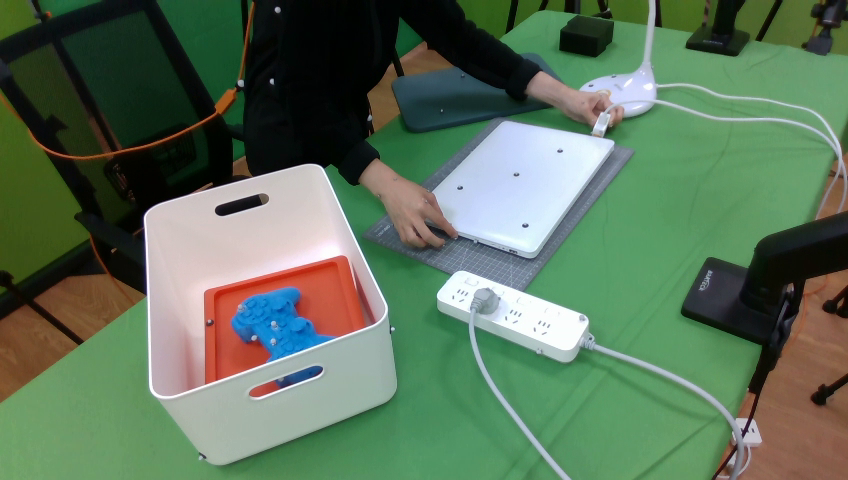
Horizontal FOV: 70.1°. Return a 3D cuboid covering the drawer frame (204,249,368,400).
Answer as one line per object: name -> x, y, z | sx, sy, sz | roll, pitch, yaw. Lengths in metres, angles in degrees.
drawer frame -> -0.174, 0.129, 0.790 | 0.202, 0.083, 0.212 | -16, 45, -8

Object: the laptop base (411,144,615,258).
laptop base -> 0.167, -0.102, 1.075 | 0.234, 0.023, 0.355 | 16, 45, 30

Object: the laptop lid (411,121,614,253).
laptop lid -> 0.164, -0.112, 1.068 | 0.240, 0.013, 0.357 | 19, 46, 30

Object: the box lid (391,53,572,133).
box lid -> 0.122, -0.339, 1.366 | 0.372, 0.015, 0.261 | -12, 40, -5

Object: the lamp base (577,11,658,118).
lamp base -> 0.406, -0.363, 1.222 | 0.180, 0.181, 0.159 | -20, 42, -18

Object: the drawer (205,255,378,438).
drawer -> -0.177, 0.130, 0.787 | 0.195, 0.073, 0.210 | -14, 39, -9

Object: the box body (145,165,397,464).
box body -> -0.205, 0.080, 0.802 | 0.255, 0.161, 0.361 | -18, 41, -13

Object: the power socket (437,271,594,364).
power socket -> 0.118, 0.102, 0.830 | 0.225, 0.033, 0.072 | 20, 48, 28

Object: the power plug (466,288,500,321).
power plug -> 0.072, 0.093, 0.813 | 0.035, 0.053, 0.073 | 30, 54, 35

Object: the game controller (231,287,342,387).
game controller -> -0.167, 0.110, 0.734 | 0.097, 0.052, 0.154 | -35, 47, -22

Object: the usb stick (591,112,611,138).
usb stick -> 0.335, -0.212, 1.151 | 0.021, 0.027, 0.059 | 22, 66, 11
